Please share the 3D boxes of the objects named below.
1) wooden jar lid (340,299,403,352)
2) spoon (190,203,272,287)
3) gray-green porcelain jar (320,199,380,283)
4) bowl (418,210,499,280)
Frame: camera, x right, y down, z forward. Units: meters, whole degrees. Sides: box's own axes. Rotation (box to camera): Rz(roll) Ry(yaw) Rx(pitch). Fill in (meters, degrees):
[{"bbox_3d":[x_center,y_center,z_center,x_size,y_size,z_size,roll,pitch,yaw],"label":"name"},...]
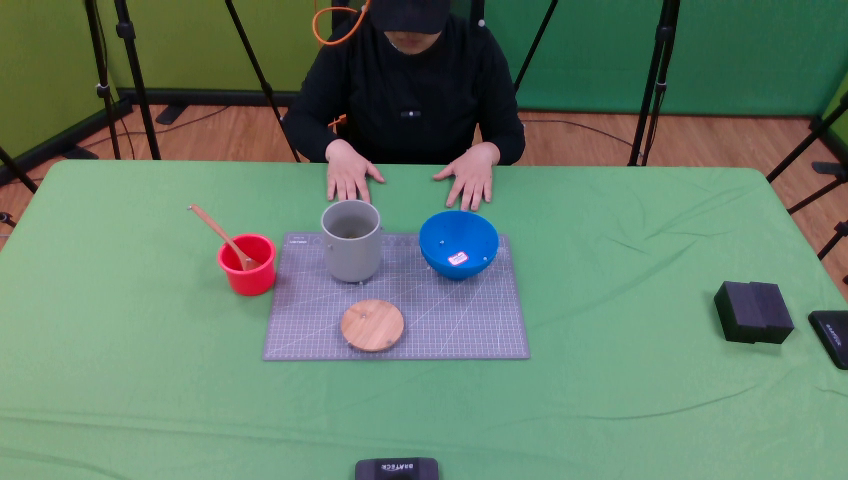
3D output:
[{"bbox_3d":[-0.090,0.150,1.046,0.108,0.021,0.107,3,47,-3],"label":"wooden jar lid"},{"bbox_3d":[-0.344,0.008,1.080,0.194,0.021,0.041,53,52,-16],"label":"spoon"},{"bbox_3d":[-0.133,0.007,1.106,0.106,0.127,0.105,2,46,-2],"label":"gray-green porcelain jar"},{"bbox_3d":[0.062,0.022,1.140,0.151,0.077,0.150,2,46,-2],"label":"bowl"}]
